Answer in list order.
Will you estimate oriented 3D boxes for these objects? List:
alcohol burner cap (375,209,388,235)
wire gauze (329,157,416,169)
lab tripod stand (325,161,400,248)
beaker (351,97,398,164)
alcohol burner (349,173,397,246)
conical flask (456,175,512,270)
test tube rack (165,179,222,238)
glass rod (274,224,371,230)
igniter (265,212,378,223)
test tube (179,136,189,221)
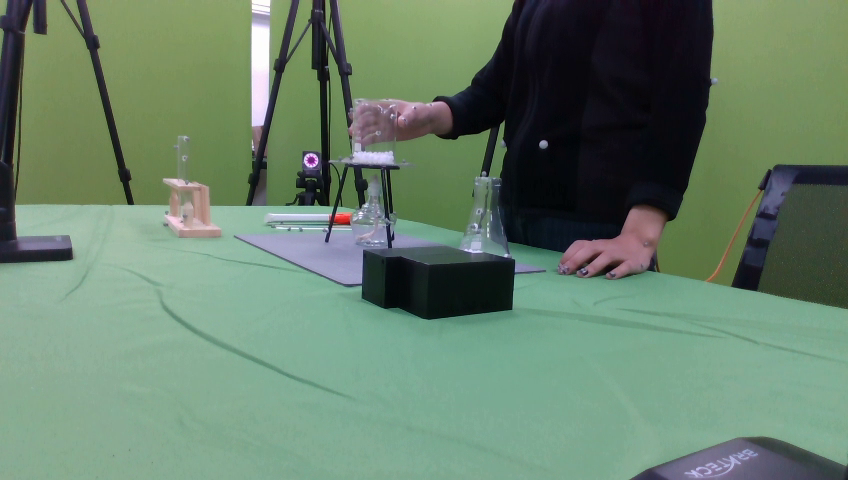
[{"bbox_3d":[-0.076,-0.035,1.145,0.034,0.048,0.034,2,7,0],"label":"alcohol burner cap"},{"bbox_3d":[-0.079,-0.125,0.972,0.121,0.011,0.125,6,6,5],"label":"wire gauze"},{"bbox_3d":[-0.083,-0.059,0.977,0.148,0.131,0.148,4,8,0],"label":"lab tripod stand"},{"bbox_3d":[-0.078,-0.172,0.963,0.074,0.100,0.084,6,8,17],"label":"beaker"},{"bbox_3d":[-0.081,-0.050,0.982,0.078,0.119,0.078,4,8,0],"label":"alcohol burner"},{"bbox_3d":[0.082,-0.025,0.801,0.075,0.122,0.075,2,7,0],"label":"conical flask"},{"bbox_3d":[-0.423,-0.062,1.098,0.067,0.085,0.241,-2,9,-28],"label":"test tube rack"},{"bbox_3d":[-0.193,-0.024,1.177,0.201,0.008,0.008,1,6,-31],"label":"glass rod"},{"bbox_3d":[-0.195,-0.048,1.285,0.278,0.025,0.057,-2,-2,-30],"label":"igniter"},{"bbox_3d":[-0.425,-0.108,1.070,0.017,0.150,0.017,4,9,0],"label":"test tube"}]
